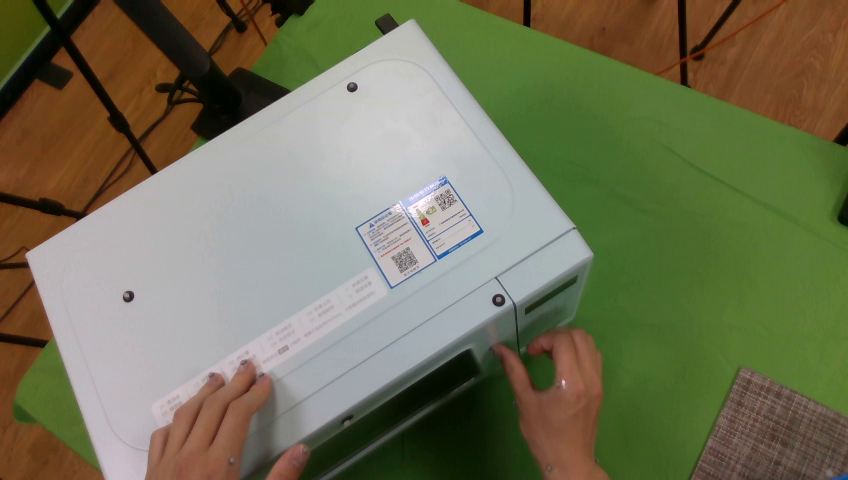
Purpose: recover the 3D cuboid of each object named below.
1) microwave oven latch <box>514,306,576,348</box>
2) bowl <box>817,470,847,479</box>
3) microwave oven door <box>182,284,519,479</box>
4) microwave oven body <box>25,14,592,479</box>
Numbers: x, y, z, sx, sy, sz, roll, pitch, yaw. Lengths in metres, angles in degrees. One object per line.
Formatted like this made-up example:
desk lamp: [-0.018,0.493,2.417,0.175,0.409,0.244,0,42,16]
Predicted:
microwave oven latch: [0.135,0.092,0.696,0.079,0.030,0.030,-32,69,-2]
bowl: [0.410,0.294,0.570,0.151,0.077,0.150,-3,70,9]
microwave oven door: [-0.066,0.172,0.589,0.356,0.246,0.039,-33,68,-3]
microwave oven body: [-0.106,0.039,0.649,0.442,0.262,0.323,-33,69,-3]
